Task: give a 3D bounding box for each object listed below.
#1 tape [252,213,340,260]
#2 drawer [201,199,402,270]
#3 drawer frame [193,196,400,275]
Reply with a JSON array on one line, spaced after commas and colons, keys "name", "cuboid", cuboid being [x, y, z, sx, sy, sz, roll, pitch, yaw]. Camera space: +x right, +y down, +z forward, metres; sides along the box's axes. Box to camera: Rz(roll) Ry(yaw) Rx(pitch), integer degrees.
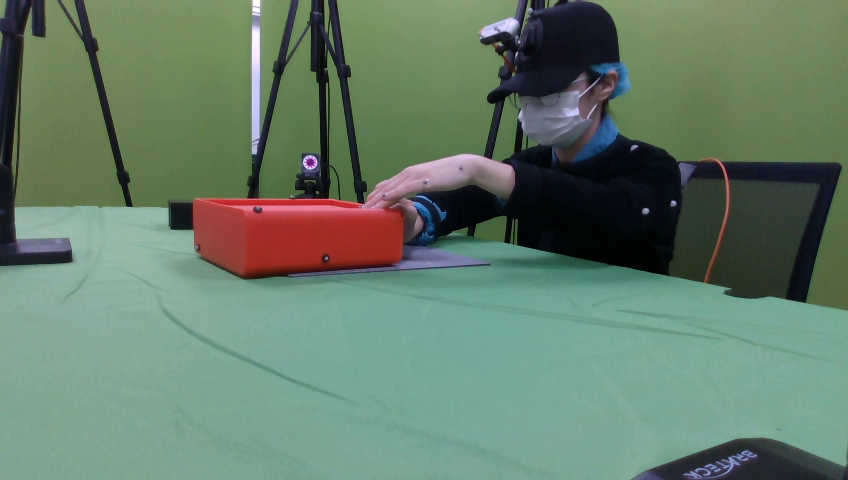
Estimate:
[{"name": "tape", "cuboid": [-0.172, -0.006, 0.816, 0.117, 0.052, 0.117, 2, 6, 0]}, {"name": "drawer", "cuboid": [-0.167, -0.013, 0.820, 0.213, 0.073, 0.193, -5, 11, -36]}, {"name": "drawer frame", "cuboid": [-0.173, -0.014, 0.815, 0.215, 0.082, 0.200, -4, 10, -37]}]
